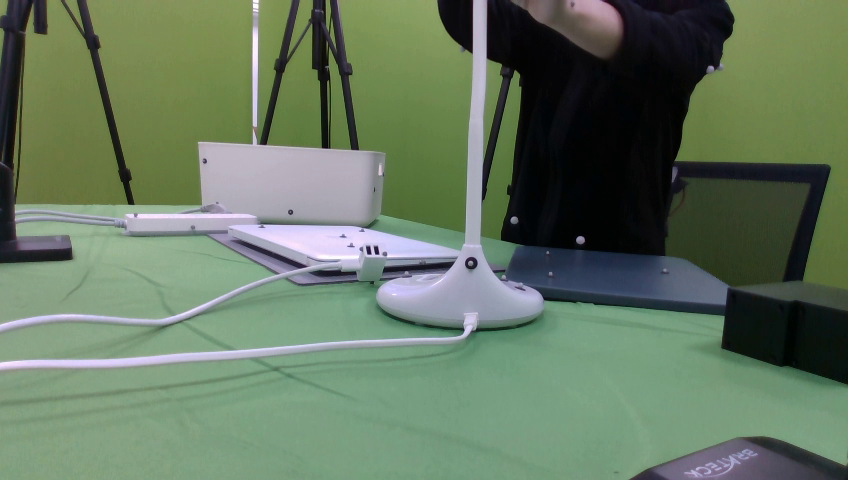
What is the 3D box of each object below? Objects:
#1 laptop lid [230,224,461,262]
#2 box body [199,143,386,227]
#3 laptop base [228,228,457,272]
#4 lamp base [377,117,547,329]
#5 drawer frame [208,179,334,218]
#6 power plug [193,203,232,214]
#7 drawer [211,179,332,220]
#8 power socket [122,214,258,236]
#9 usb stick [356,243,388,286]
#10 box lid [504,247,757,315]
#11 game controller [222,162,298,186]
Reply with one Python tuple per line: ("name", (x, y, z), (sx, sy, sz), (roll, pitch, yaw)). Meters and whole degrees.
("laptop lid", (-0.120, 0.000, 0.889), (0.243, 0.013, 0.355), (1, 7, -33))
("box body", (-0.276, -0.124, 1.335), (0.364, 0.160, 0.254), (3, 7, 1))
("laptop base", (-0.122, 0.011, 0.889), (0.237, 0.023, 0.352), (2, 6, -35))
("lamp base", (0.041, -0.019, 0.552), (0.161, 0.180, 0.179), (1, 10, -10))
("drawer frame", (-0.327, -0.093, 1.328), (0.213, 0.082, 0.202), (0, 5, 6))
("power plug", (-0.394, -0.042, 1.139), (0.072, 0.052, 0.035), (-14, 1, 31))
("drawer", (-0.328, -0.095, 1.332), (0.212, 0.073, 0.194), (5, 8, 6))
("power socket", (-0.399, -0.028, 1.049), (0.228, 0.032, 0.072), (-3, 8, -34))
("usb stick", (-0.058, 0.029, 0.658), (0.027, 0.059, 0.021), (-5, 52, -18))
("box lid", (0.244, 0.044, 0.793), (0.263, 0.015, 0.372), (4, 7, 11))
("game controller", (-0.357, -0.143, 1.322), (0.156, 0.051, 0.097), (1, 2, -16))
